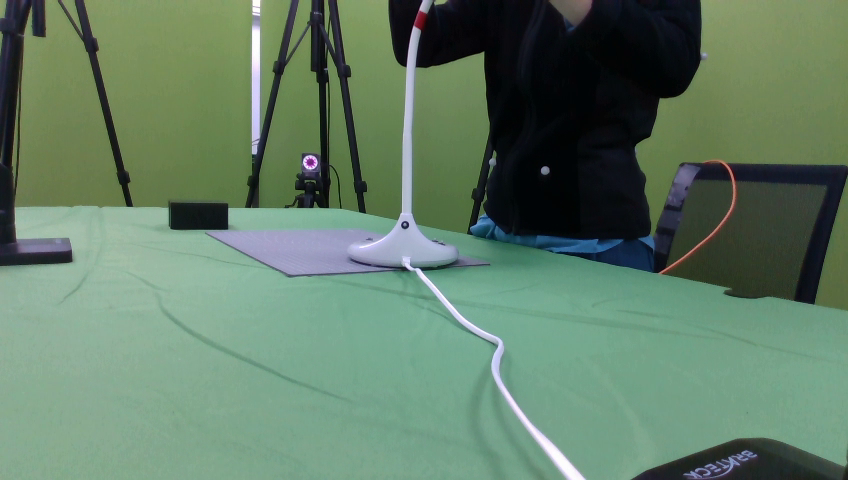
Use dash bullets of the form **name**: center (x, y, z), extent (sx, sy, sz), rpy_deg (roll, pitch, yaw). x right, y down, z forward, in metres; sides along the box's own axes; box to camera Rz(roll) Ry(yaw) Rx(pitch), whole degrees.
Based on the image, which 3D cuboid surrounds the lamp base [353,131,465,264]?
- **lamp base**: center (-0.014, -0.062, 0.851), extent (0.161, 0.180, 0.178), rpy_deg (-1, 11, -20)
